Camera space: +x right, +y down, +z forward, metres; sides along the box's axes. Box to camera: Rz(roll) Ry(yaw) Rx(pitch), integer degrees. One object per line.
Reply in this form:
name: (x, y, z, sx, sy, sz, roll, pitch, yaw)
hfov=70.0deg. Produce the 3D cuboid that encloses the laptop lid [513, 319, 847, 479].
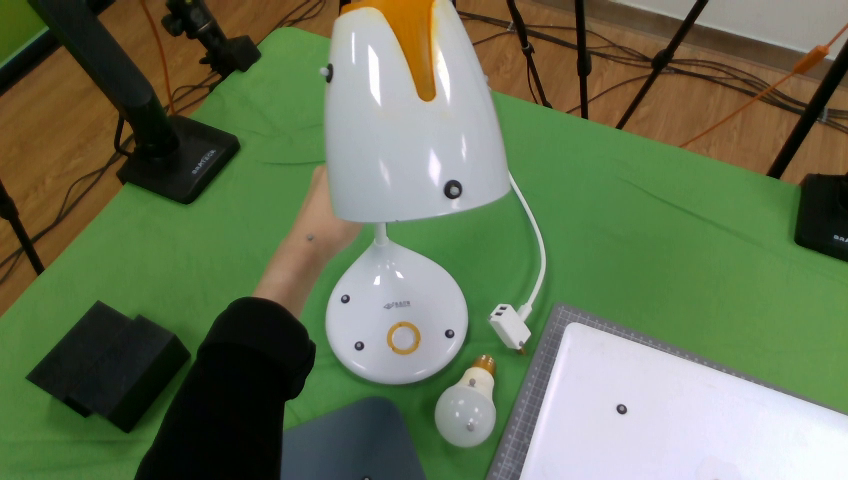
laptop lid: (0.272, 0.229, 0.572, 0.355, 0.013, 0.240, 20, 61, 13)

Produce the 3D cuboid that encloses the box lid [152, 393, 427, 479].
box lid: (-0.089, 0.332, 0.521, 0.264, 0.015, 0.367, -19, 59, -12)

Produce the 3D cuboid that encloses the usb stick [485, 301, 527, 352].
usb stick: (0.092, 0.095, 0.657, 0.027, 0.059, 0.021, -45, 24, -30)

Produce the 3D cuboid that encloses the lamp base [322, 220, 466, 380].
lamp base: (-0.038, 0.028, 0.621, 0.161, 0.182, 0.177, -17, 55, -12)

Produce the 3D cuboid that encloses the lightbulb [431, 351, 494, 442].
lightbulb: (0.046, 0.155, 0.617, 0.059, 0.060, 0.107, 19, 43, 13)

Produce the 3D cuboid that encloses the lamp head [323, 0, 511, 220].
lamp head: (-0.011, -0.082, 0.360, 0.112, 0.112, 0.123, -9, 101, 2)

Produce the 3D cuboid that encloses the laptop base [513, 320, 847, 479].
laptop base: (0.274, 0.234, 0.583, 0.353, 0.023, 0.234, 19, 62, 12)
